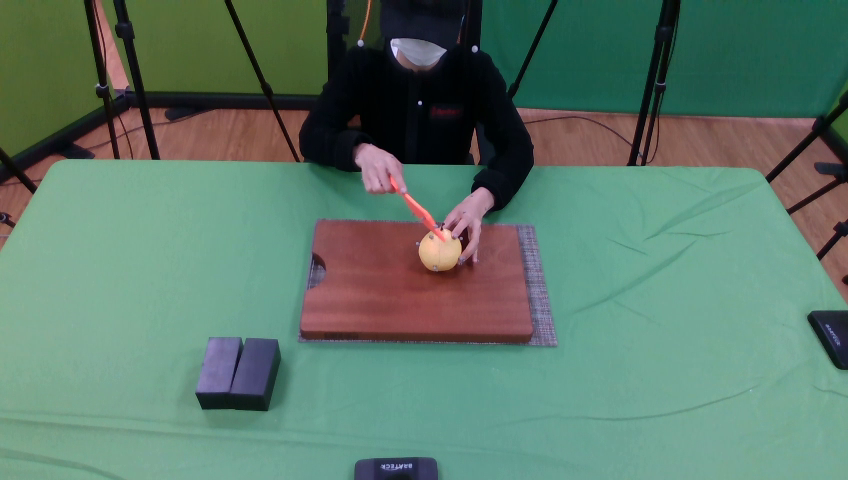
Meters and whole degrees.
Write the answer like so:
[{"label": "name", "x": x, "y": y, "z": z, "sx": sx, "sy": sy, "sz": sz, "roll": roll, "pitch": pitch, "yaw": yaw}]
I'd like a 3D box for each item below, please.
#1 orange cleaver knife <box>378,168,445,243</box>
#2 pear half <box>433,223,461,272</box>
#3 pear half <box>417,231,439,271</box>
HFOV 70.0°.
[{"label": "orange cleaver knife", "x": -0.024, "y": -0.063, "z": 1.073, "sx": 0.012, "sy": 0.077, "sz": 0.210, "roll": -36, "pitch": 44, "yaw": -7}, {"label": "pear half", "x": 0.040, "y": 0.007, "z": 1.096, "sx": 0.056, "sy": 0.110, "sz": 0.076, "roll": -12, "pitch": 53, "yaw": -16}, {"label": "pear half", "x": 0.005, "y": 0.019, "z": 1.095, "sx": 0.031, "sy": 0.088, "sz": 0.070, "roll": -13, "pitch": 53, "yaw": -17}]
